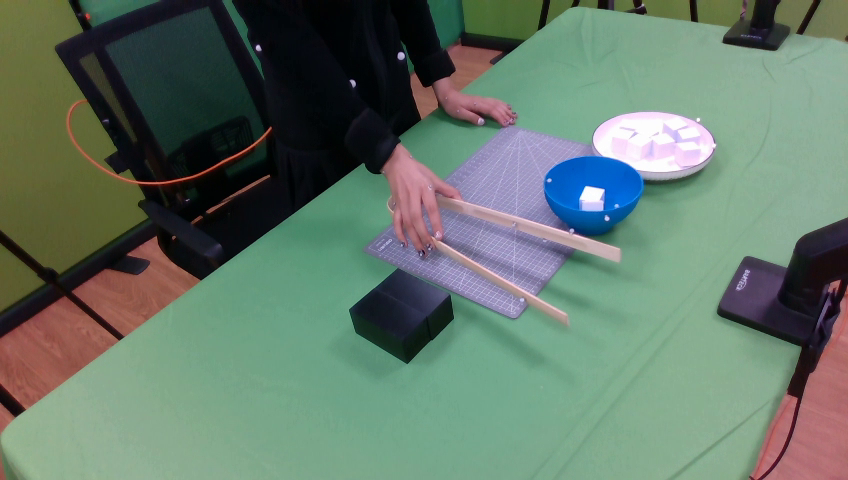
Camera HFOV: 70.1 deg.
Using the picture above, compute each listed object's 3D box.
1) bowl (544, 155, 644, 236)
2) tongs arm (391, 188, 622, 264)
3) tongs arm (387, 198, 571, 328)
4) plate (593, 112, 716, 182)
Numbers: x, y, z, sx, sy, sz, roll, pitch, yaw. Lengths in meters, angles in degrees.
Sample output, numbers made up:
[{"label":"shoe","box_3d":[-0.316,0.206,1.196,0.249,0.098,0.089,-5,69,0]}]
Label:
[{"label":"bowl","box_3d":[0.266,-0.061,0.957,0.151,0.077,0.150,-5,41,5]},{"label":"tongs arm","box_3d":[0.107,-0.021,0.916,0.381,0.027,0.051,22,57,34]},{"label":"tongs arm","box_3d":[0.061,0.024,0.884,0.028,0.028,0.384,-42,48,-17]},{"label":"plate","box_3d":[0.408,-0.163,1.084,0.207,0.039,0.206,-4,40,4]}]
